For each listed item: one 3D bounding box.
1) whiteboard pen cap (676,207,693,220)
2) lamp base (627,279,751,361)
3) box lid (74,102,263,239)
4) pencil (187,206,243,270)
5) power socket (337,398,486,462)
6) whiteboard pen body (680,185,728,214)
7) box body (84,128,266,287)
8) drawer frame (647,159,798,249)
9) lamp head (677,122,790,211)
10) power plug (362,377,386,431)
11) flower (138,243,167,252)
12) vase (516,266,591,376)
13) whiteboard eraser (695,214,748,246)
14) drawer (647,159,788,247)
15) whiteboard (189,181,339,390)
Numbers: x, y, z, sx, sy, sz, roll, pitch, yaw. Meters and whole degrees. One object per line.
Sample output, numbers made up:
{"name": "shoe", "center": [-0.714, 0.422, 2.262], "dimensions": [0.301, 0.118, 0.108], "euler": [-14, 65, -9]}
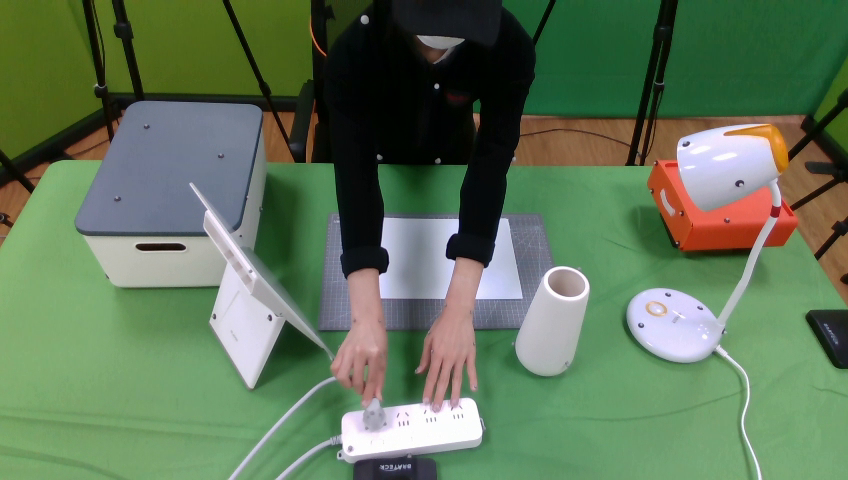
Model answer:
{"name": "whiteboard pen cap", "center": [0.524, -0.053, 1.216], "dimensions": [0.033, 0.018, 0.018], "euler": [-28, 54, -23]}
{"name": "lamp base", "center": [0.459, 0.100, 1.027], "dimensions": [0.178, 0.181, 0.160], "euler": [27, 51, 17]}
{"name": "box lid", "center": [-0.443, -0.138, 1.094], "dimensions": [0.263, 0.015, 0.369], "euler": [0, 46, -5]}
{"name": "pencil", "center": [-0.401, -0.008, 1.176], "dimensions": [0.012, 0.012, 0.193], "euler": [15, 44, 10]}
{"name": "power socket", "center": [-0.018, 0.285, 0.914], "dimensions": [0.227, 0.033, 0.071], "euler": [-5, 46, -8]}
{"name": "whiteboard pen body", "center": [0.571, -0.081, 1.238], "dimensions": [0.141, 0.017, 0.017], "euler": [-26, 54, -22]}
{"name": "box body", "center": [-0.447, -0.088, 1.150], "dimensions": [0.254, 0.161, 0.361], "euler": [-1, 46, -5]}
{"name": "drawer frame", "center": [0.588, -0.077, 1.219], "dimensions": [0.214, 0.083, 0.200], "euler": [-2, 45, -5]}
{"name": "lamp head", "center": [0.423, -0.104, 0.819], "dimensions": [0.122, 0.113, 0.112], "euler": [-13, 33, 39]}
{"name": "power plug", "center": [-0.072, 0.247, 0.902], "dimensions": [0.035, 0.053, 0.072], "euler": [2, 52, 2]}
{"name": "flower", "center": [-0.443, -0.044, 1.194], "dimensions": [0.044, 0.038, 0.361], "euler": [45, 47, -7]}
{"name": "vase", "center": [0.208, 0.132, 0.964], "dimensions": [0.098, 0.201, 0.097], "euler": [3, 46, -3]}
{"name": "whiteboard eraser", "center": [0.592, -0.019, 1.209], "dimensions": [0.113, 0.042, 0.055], "euler": [12, 27, -36]}
{"name": "drawer", "center": [0.582, -0.079, 1.214], "dimensions": [0.212, 0.073, 0.193], "euler": [-1, 45, -5]}
{"name": "whiteboard", "center": [-0.292, 0.096, 0.929], "dimensions": [0.144, 0.307, 0.216], "euler": [-37, 57, -10]}
